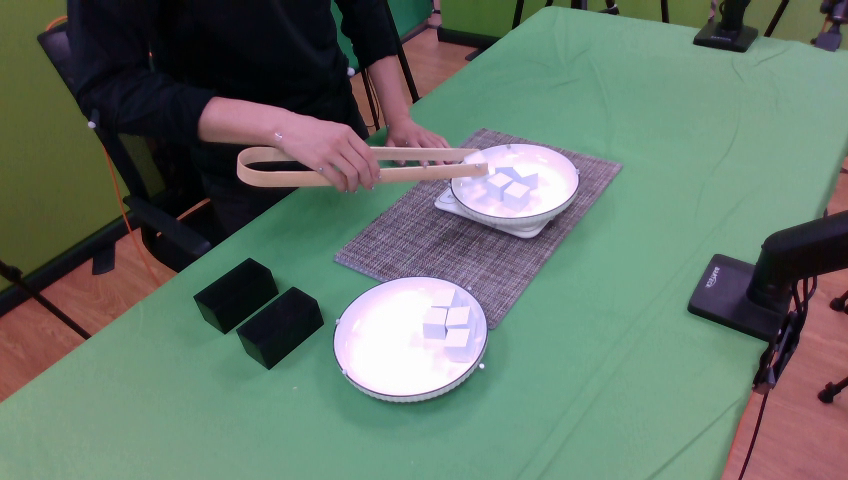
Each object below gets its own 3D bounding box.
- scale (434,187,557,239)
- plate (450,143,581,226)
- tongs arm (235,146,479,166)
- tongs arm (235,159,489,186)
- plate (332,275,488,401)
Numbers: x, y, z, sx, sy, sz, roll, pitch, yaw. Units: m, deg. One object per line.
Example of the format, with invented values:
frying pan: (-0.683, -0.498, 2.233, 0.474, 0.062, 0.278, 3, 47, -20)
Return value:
scale: (0.132, -0.075, 1.025, 0.199, 0.032, 0.149, 22, 48, 30)
plate: (0.148, -0.087, 0.986, 0.209, 0.038, 0.208, -4, 41, 4)
tongs arm: (-0.087, -0.125, 0.915, 0.390, 0.028, 0.028, -5, 50, -26)
tongs arm: (-0.077, -0.107, 0.897, 0.387, 0.026, 0.050, -8, 48, -28)
plate: (-0.017, 0.131, 0.808, 0.207, 0.039, 0.206, -4, 41, 4)
